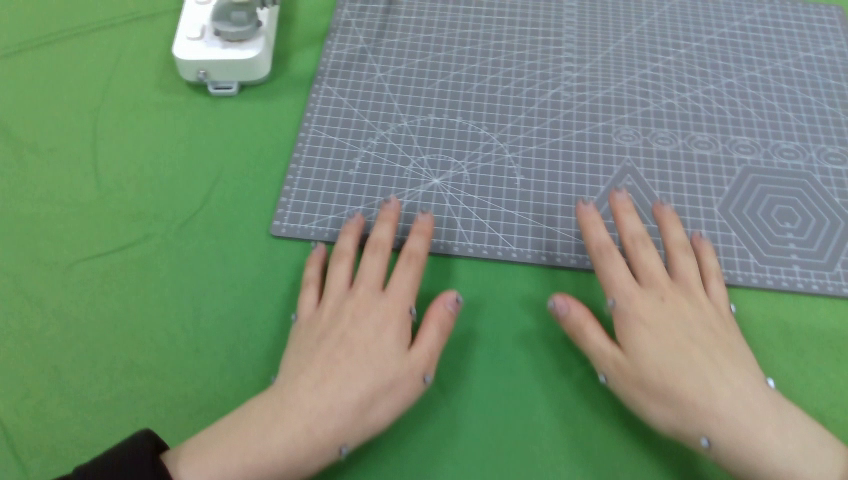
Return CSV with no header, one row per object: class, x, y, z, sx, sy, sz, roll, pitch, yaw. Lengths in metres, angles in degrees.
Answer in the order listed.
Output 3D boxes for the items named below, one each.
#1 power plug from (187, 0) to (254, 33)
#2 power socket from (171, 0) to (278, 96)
power plug,-0.148,-0.184,0.447,0.035,0.073,0.052,21,72,6
power socket,-0.163,-0.219,0.523,0.072,0.033,0.224,0,60,-3
